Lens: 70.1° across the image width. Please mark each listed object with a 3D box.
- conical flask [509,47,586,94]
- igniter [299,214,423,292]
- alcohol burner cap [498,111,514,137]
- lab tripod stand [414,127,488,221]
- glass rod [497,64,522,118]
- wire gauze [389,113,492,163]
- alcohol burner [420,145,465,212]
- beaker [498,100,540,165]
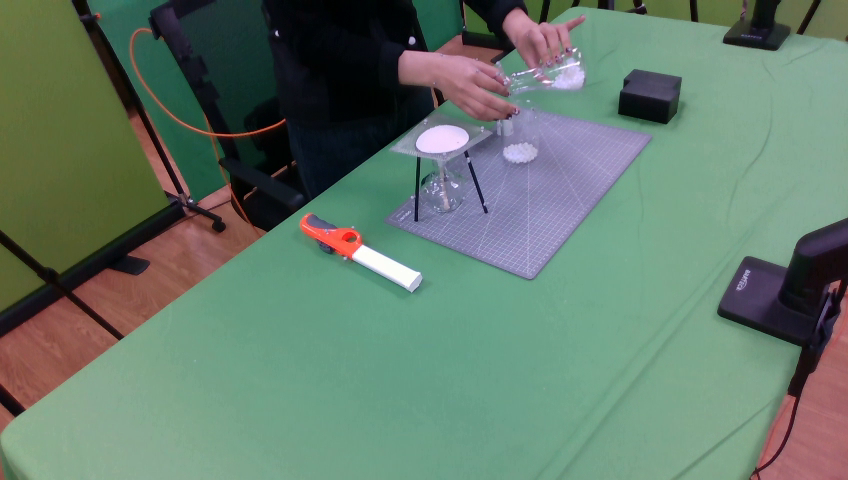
[{"bbox_3d":[0.211,-0.283,1.040,0.122,0.076,0.075,-13,40,-1],"label":"conical flask"},{"bbox_3d":[-0.112,0.016,0.983,0.274,0.025,0.057,26,62,35],"label":"igniter"},{"bbox_3d":[0.163,-0.235,1.211,0.034,0.048,0.033,-6,40,6],"label":"alcohol burner cap"},{"bbox_3d":[0.035,-0.114,1.021,0.148,0.132,0.147,-7,39,6],"label":"lab tripod stand"},{"bbox_3d":[0.148,-0.252,1.036,0.008,0.201,0.008,-4,76,18],"label":"glass rod"},{"bbox_3d":[0.026,-0.164,0.977,0.120,0.011,0.125,23,49,35],"label":"wire gauze"},{"bbox_3d":[0.030,-0.108,1.030,0.078,0.119,0.077,-5,38,4],"label":"alcohol burner"},{"bbox_3d":[0.180,-0.196,1.117,0.074,0.101,0.083,-25,43,-17],"label":"beaker"}]
